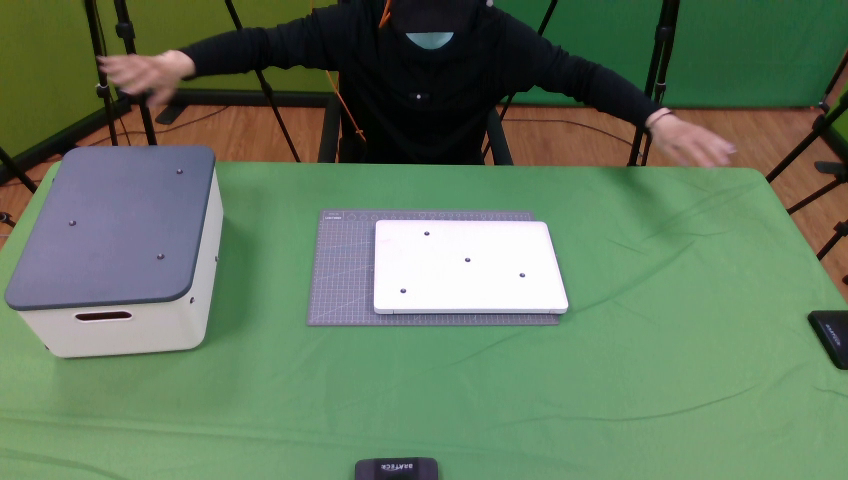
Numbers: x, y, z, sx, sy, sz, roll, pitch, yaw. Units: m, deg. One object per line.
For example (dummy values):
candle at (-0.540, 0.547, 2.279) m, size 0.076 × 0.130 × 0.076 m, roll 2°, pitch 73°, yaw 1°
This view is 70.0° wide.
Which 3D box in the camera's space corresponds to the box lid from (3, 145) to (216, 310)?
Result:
box lid at (-0.495, -0.040, 0.998) m, size 0.263 × 0.015 × 0.369 m, roll -2°, pitch 47°, yaw -8°

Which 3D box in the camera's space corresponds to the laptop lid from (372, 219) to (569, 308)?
laptop lid at (0.081, 0.039, 1.152) m, size 0.357 × 0.013 × 0.240 m, roll 2°, pitch 44°, yaw -3°

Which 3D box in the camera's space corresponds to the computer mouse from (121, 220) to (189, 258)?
computer mouse at (-0.511, -0.003, 1.152) m, size 0.117 × 0.041 × 0.062 m, roll 12°, pitch 42°, yaw -3°

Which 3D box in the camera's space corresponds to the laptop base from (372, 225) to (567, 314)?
laptop base at (0.080, 0.049, 1.159) m, size 0.355 × 0.023 × 0.234 m, roll 0°, pitch 43°, yaw -4°

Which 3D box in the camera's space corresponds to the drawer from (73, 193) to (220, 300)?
drawer at (-0.494, 0.009, 1.103) m, size 0.195 × 0.073 × 0.210 m, roll 2°, pitch 45°, yaw -6°

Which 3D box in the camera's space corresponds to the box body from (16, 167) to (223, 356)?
box body at (-0.499, 0.012, 1.051) m, size 0.254 × 0.161 × 0.361 m, roll -3°, pitch 47°, yaw -7°

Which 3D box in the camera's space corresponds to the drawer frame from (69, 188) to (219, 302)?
drawer frame at (-0.495, 0.005, 1.099) m, size 0.202 × 0.083 × 0.212 m, roll -2°, pitch 49°, yaw -4°
